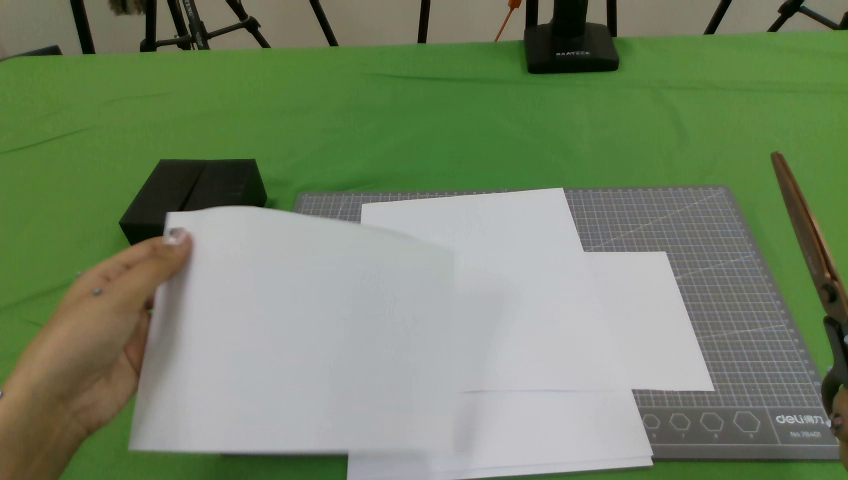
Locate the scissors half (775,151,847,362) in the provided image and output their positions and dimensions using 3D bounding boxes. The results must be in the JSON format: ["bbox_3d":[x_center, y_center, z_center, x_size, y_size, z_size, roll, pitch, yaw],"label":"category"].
[{"bbox_3d":[0.204,0.037,0.288,0.013,0.040,0.174,-16,76,-2],"label":"scissors half"}]

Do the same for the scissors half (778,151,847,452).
[{"bbox_3d":[0.205,0.038,0.308,0.013,0.175,0.040,-16,2,3],"label":"scissors half"}]
